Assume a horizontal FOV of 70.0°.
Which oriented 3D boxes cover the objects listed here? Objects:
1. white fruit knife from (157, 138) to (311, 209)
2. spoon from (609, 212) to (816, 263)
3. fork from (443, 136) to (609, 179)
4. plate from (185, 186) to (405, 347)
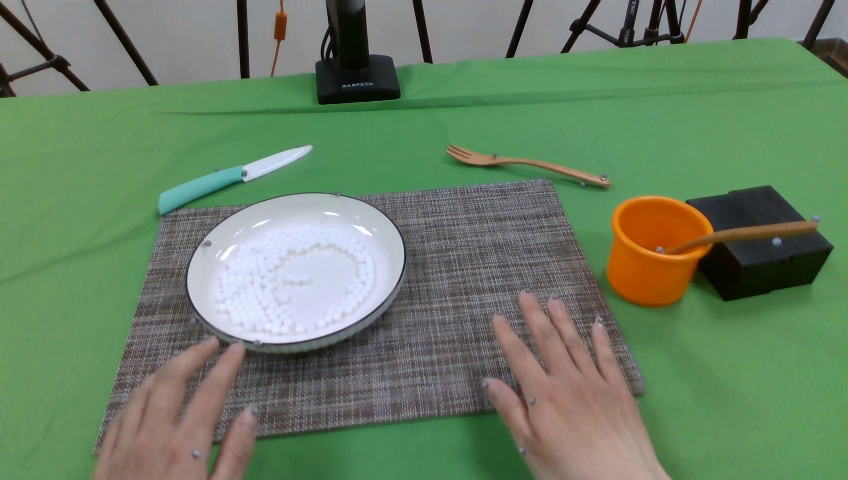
[{"bbox_3d":[-0.226,-0.087,0.735,0.207,0.016,0.027,-28,73,-31],"label":"white fruit knife"},{"bbox_3d":[0.247,-0.003,0.545,0.041,0.193,0.021,-32,96,-32],"label":"spoon"},{"bbox_3d":[0.123,-0.100,0.743,0.206,0.019,0.028,12,39,16],"label":"fork"},{"bbox_3d":[-0.121,0.024,0.594,0.209,0.038,0.207,0,43,1],"label":"plate"}]
